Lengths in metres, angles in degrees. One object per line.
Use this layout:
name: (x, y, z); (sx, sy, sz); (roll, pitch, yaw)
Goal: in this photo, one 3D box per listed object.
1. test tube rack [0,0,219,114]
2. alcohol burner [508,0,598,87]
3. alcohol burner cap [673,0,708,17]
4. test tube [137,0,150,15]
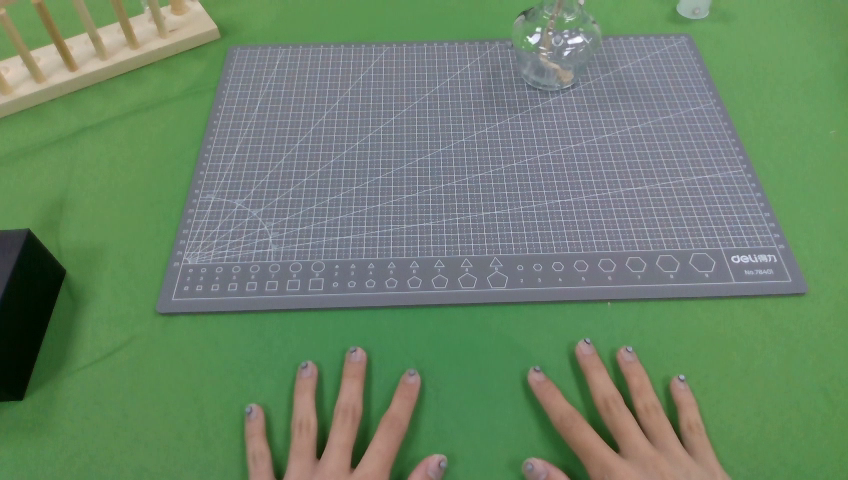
test tube rack: (-0.323, -0.196, 0.546); (0.242, 0.086, 0.066); (-28, 58, -18)
alcohol burner: (0.112, -0.192, 0.516); (0.078, 0.120, 0.077); (0, 52, 0)
alcohol burner cap: (0.272, -0.251, 0.605); (0.034, 0.048, 0.033); (-1, 54, 2)
test tube: (-0.275, -0.271, 0.539); (0.017, 0.152, 0.017); (-3, 51, 4)
